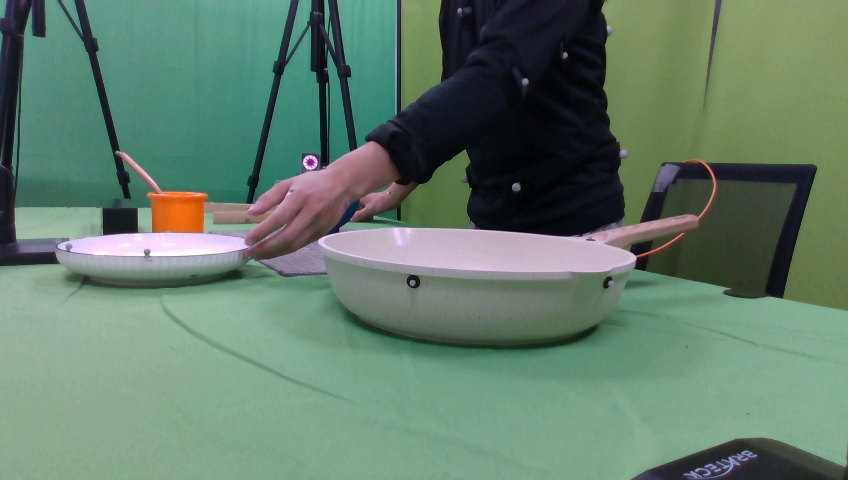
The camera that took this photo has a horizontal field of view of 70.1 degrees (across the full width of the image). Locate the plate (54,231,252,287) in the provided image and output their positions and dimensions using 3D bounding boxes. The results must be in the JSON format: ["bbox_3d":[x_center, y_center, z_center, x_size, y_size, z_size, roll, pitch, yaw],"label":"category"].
[{"bbox_3d":[-0.309,0.020,0.705,0.208,0.039,0.207,3,7,0],"label":"plate"}]

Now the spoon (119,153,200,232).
[{"bbox_3d":[-0.439,-0.077,1.000,0.021,0.193,0.042,-43,-6,21],"label":"spoon"}]

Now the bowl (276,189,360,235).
[{"bbox_3d":[-0.195,-0.051,1.114,0.151,0.077,0.151,2,7,0],"label":"bowl"}]

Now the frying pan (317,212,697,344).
[{"bbox_3d":[0.133,0.013,0.630,0.490,0.102,0.305,-12,14,-31],"label":"frying pan"}]

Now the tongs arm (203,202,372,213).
[{"bbox_3d":[-0.312,-0.069,1.417,0.387,0.026,0.050,1,8,-24],"label":"tongs arm"}]

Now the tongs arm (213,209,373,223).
[{"bbox_3d":[-0.275,-0.055,1.348,0.390,0.028,0.028,-2,6,-36],"label":"tongs arm"}]
